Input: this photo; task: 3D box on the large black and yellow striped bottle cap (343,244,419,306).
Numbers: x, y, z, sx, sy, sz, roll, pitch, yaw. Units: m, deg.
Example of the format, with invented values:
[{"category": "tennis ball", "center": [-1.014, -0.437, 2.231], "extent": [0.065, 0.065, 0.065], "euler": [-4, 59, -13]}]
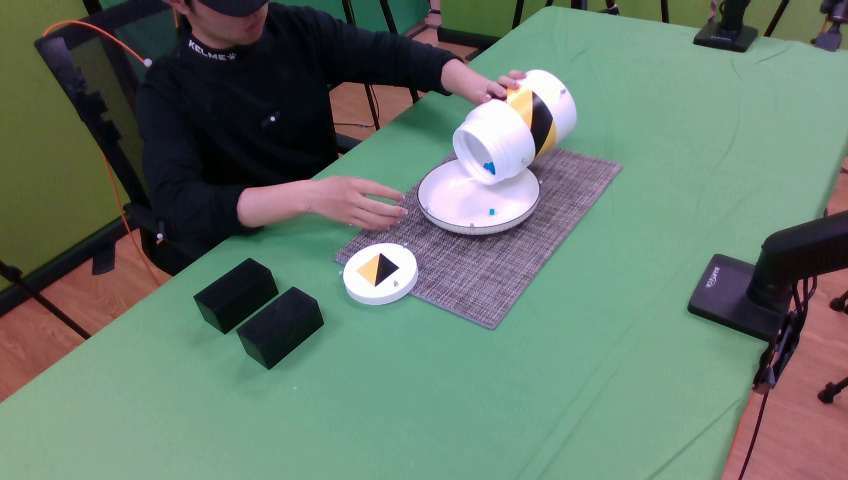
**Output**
[{"category": "large black and yellow striped bottle cap", "center": [-0.066, 0.051, 0.918], "extent": [0.115, 0.019, 0.114], "euler": [-6, 43, 6]}]

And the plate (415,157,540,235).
[{"category": "plate", "center": [0.090, -0.074, 1.025], "extent": [0.207, 0.039, 0.206], "euler": [-4, 41, 4]}]

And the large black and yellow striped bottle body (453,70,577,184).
[{"category": "large black and yellow striped bottle body", "center": [0.151, -0.187, 1.021], "extent": [0.184, 0.131, 0.129], "euler": [-37, 48, -19]}]
